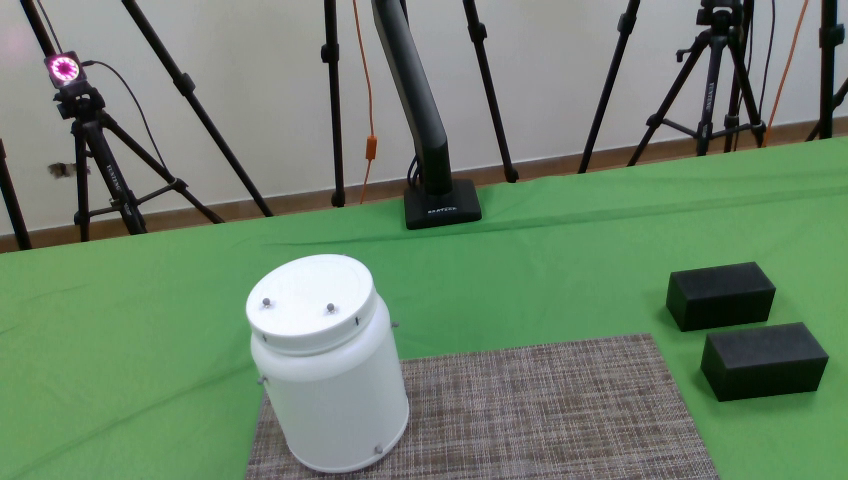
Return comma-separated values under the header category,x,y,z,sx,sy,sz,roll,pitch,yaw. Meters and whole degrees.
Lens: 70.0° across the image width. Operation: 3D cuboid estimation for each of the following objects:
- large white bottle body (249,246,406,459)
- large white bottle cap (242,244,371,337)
category,x,y,z,sx,sy,sz,roll,pitch,yaw
large white bottle body,-0.094,0.110,0.596,0.130,0.186,0.129,-6,36,4
large white bottle cap,-0.105,0.043,0.547,0.115,0.018,0.113,-5,35,4
